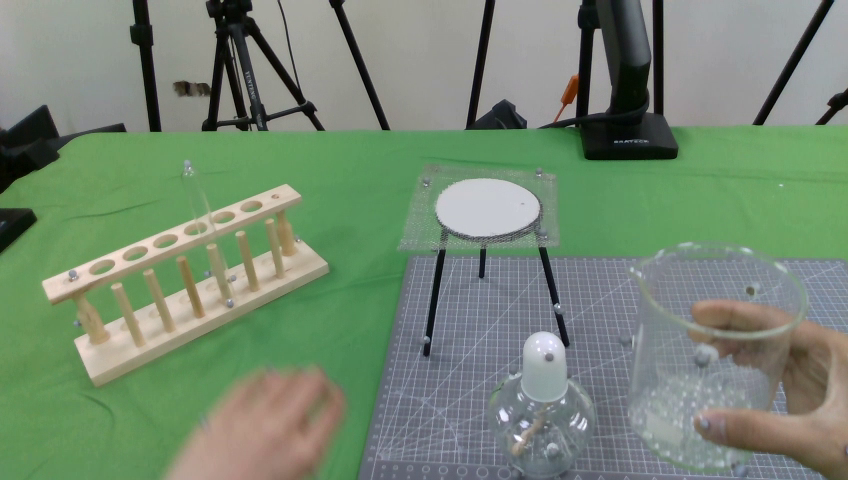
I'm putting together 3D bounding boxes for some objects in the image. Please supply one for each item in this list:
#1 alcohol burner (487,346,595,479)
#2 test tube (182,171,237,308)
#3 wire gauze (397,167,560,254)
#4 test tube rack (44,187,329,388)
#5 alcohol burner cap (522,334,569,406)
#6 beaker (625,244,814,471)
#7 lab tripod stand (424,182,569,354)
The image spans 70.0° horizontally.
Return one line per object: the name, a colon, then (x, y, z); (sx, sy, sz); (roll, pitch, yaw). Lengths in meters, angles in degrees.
alcohol burner: (0.083, 0.114, 0.429); (0.078, 0.120, 0.077); (-3, 38, 2)
test tube: (-0.200, 0.003, 0.568); (0.017, 0.151, 0.017); (-2, 35, 2)
wire gauze: (0.048, -0.026, 0.495); (0.121, 0.011, 0.124); (3, 37, 8)
test tube rack: (-0.221, 0.038, 0.598); (0.242, 0.086, 0.066); (-27, 41, -28)
alcohol burner cap: (0.082, 0.085, 0.408); (0.034, 0.048, 0.033); (-5, 35, 4)
beaker: (0.142, 0.062, 0.315); (0.083, 0.101, 0.074); (17, 39, 31)
lab tripod stand: (0.061, 0.027, 0.535); (0.148, 0.132, 0.147); (-2, 35, 2)
